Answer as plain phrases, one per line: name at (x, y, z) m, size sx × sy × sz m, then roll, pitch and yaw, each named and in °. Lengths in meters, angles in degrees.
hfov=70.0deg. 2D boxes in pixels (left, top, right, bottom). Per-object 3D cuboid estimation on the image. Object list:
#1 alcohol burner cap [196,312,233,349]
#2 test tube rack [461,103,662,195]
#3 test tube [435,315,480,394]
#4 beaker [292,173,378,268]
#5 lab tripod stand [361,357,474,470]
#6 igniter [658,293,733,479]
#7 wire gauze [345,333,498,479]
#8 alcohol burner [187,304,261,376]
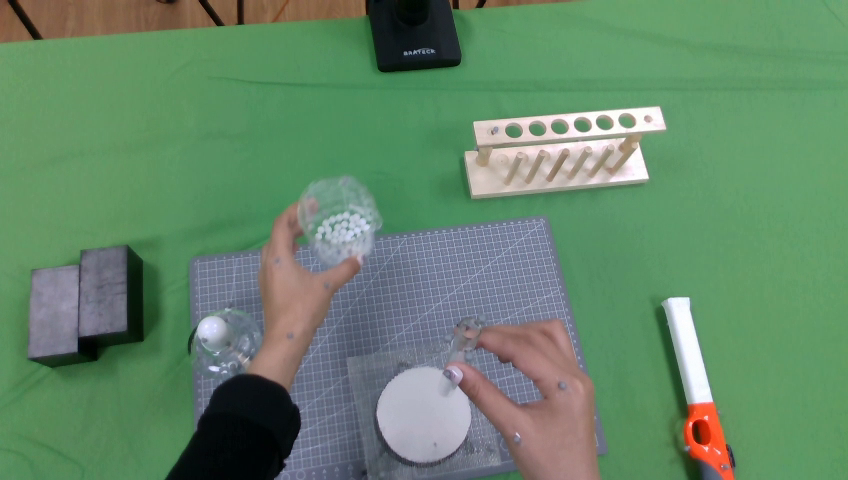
alcohol burner cap at (-0.212, 0.089, 0.609) m, size 0.034 × 0.048 × 0.033 m, roll 3°, pitch 70°, yaw -8°
test tube rack at (0.177, -0.116, 0.782) m, size 0.243 × 0.085 × 0.066 m, roll -6°, pitch 70°, yaw -7°
test tube at (0.022, 0.088, 0.444) m, size 0.017 × 0.151 × 0.017 m, roll 2°, pitch 62°, yaw -4°
beaker at (-0.087, -0.015, 0.626) m, size 0.084 × 0.101 × 0.073 m, roll 14°, pitch 72°, yaw 1°
lab tripod stand at (-0.010, 0.180, 0.623) m, size 0.148 × 0.132 × 0.147 m, roll 1°, pitch 68°, yaw -3°
igniter at (0.320, 0.197, 0.709) m, size 0.057 × 0.025 × 0.274 m, roll 0°, pitch 69°, yaw -16°
wire gauze at (-0.003, 0.153, 0.562) m, size 0.125 × 0.011 × 0.120 m, roll -9°, pitch 69°, yaw -9°
alcohol burner at (-0.216, 0.102, 0.643) m, size 0.078 × 0.120 × 0.077 m, roll 2°, pitch 67°, yaw -4°
